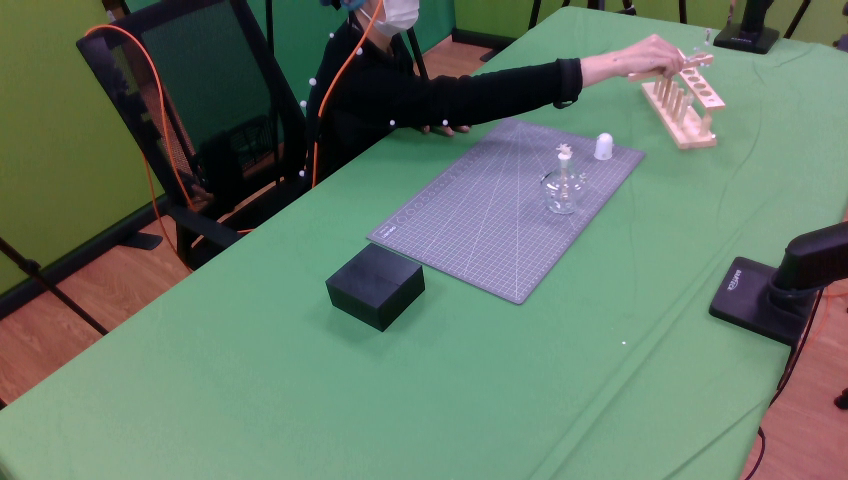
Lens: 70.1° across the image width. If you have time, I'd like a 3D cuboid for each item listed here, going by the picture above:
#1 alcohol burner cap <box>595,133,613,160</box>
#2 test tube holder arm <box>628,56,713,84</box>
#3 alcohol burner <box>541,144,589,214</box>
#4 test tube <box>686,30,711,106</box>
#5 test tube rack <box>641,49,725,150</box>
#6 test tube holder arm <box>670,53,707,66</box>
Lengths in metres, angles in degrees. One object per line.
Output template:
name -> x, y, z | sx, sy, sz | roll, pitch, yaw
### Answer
alcohol burner cap -> 0.330, -0.172, 1.105 | 0.034, 0.048, 0.033 | -5, 41, 5
test tube holder arm -> 0.443, -0.306, 1.085 | 0.179, 0.015, 0.013 | -17, 41, -16
alcohol burner -> 0.229, -0.102, 0.983 | 0.078, 0.119, 0.077 | -6, 40, 5
test tube -> 0.506, -0.315, 1.120 | 0.017, 0.151, 0.017 | -3, 44, 4
test tube rack -> 0.495, -0.279, 1.175 | 0.067, 0.085, 0.241 | -5, 41, 3
test tube holder arm -> 0.481, -0.323, 1.103 | 0.088, 0.015, 0.010 | -23, 43, -22
